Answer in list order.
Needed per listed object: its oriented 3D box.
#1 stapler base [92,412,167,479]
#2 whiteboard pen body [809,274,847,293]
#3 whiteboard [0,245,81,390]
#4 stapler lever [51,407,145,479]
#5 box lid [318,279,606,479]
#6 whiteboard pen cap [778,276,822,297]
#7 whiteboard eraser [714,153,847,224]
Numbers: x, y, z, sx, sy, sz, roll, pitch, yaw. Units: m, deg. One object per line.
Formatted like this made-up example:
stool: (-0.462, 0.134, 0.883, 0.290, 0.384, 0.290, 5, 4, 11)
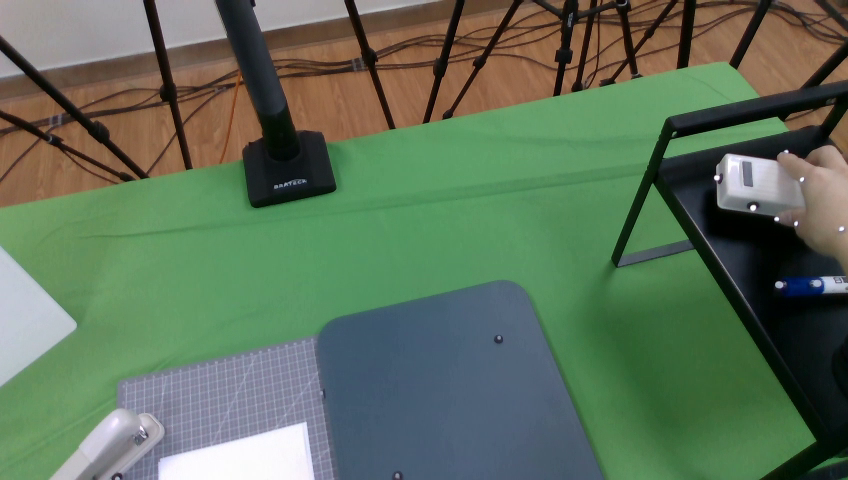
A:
stapler base: (-0.331, 0.232, 0.628, 0.041, 0.025, 0.130, 33, 65, 27)
whiteboard pen body: (0.389, 0.037, 0.531, 0.141, 0.017, 0.017, -1, 54, -4)
whiteboard: (-0.574, 0.042, 0.635, 0.142, 0.309, 0.217, 24, 57, 40)
stapler lever: (-0.334, 0.219, 0.606, 0.026, 0.040, 0.118, 33, 64, 27)
box lid: (0.040, 0.214, 0.643, 0.264, 0.015, 0.367, -12, 56, -9)
whiteboard pen cap: (0.329, 0.040, 0.528, 0.033, 0.018, 0.018, 5, 54, -6)
whiteboard eraser: (0.337, -0.047, 0.576, 0.112, 0.042, 0.055, 9, 55, 8)
